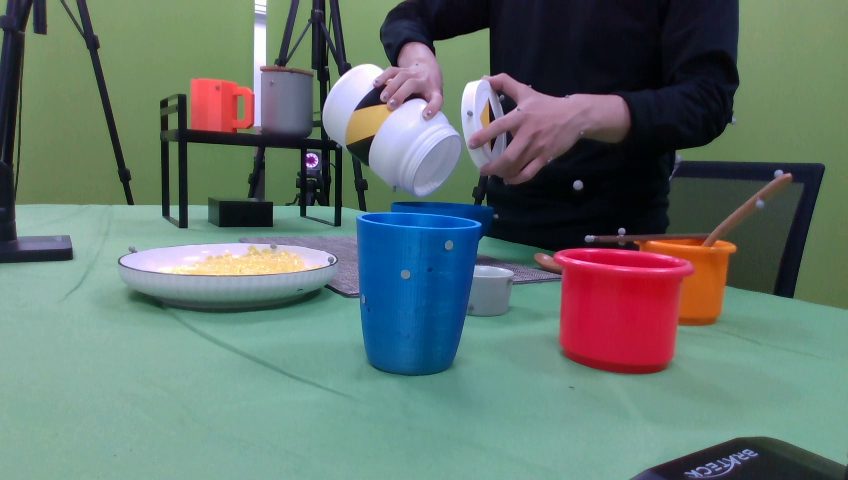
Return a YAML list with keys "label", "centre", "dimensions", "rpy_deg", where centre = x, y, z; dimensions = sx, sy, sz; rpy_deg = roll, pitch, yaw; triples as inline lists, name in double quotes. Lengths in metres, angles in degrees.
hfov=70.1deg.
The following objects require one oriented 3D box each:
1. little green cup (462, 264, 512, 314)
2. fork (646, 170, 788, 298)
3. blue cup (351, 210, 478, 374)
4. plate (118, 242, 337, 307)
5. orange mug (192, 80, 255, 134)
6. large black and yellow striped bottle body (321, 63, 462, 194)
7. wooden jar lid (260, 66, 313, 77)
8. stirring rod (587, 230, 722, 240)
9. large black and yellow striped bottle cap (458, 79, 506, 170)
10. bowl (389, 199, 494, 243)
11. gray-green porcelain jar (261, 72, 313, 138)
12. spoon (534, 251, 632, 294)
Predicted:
- label: "little green cup"
  centre: [0.053, 0.047, 0.579]
  dimensions: [0.061, 0.038, 0.061]
  rpy_deg: [3, 8, 0]
- label: "fork"
  centre: [0.256, 0.004, 0.543]
  dimensions: [0.028, 0.018, 0.207]
  rpy_deg: [3, -37, -10]
- label: "blue cup"
  centre: [-0.009, 0.034, 0.414]
  dimensions: [0.093, 0.100, 0.092]
  rpy_deg: [4, 8, 0]
- label: "plate"
  centre: [-0.194, 0.033, 0.615]
  dimensions: [0.209, 0.038, 0.209]
  rpy_deg: [2, 7, 0]
- label: "orange mug"
  centre: [-0.389, -0.257, 1.172]
  dimensions: [0.126, 0.100, 0.083]
  rpy_deg: [-1, 6, 9]
- label: "large black and yellow striped bottle body"
  centre: [-0.047, -0.162, 0.894]
  dimensions: [0.183, 0.130, 0.131]
  rpy_deg: [39, 23, 22]
- label: "wooden jar lid"
  centre: [-0.283, -0.339, 1.244]
  dimensions: [0.108, 0.020, 0.108]
  rpy_deg: [5, 9, 0]
- label: "stirring rod"
  centre: [0.227, -0.006, 0.585]
  dimensions: [0.177, 0.006, 0.014]
  rpy_deg: [-2, 7, -28]
- label: "large black and yellow striped bottle cap"
  centre: [0.076, -0.147, 0.774]
  dimensions: [0.018, 0.115, 0.115]
  rpy_deg: [-7, 2, 28]
- label: "bowl"
  centre: [0.024, -0.015, 0.872]
  dimensions: [0.151, 0.077, 0.151]
  rpy_deg: [3, 7, 0]
- label: "gray-green porcelain jar"
  centre: [-0.284, -0.277, 1.253]
  dimensions: [0.106, 0.126, 0.106]
  rpy_deg: [2, 8, 0]
- label: "spoon"
  centre: [0.193, 0.038, 0.753]
  dimensions: [0.042, 0.021, 0.193]
  rpy_deg: [14, 2, -21]
